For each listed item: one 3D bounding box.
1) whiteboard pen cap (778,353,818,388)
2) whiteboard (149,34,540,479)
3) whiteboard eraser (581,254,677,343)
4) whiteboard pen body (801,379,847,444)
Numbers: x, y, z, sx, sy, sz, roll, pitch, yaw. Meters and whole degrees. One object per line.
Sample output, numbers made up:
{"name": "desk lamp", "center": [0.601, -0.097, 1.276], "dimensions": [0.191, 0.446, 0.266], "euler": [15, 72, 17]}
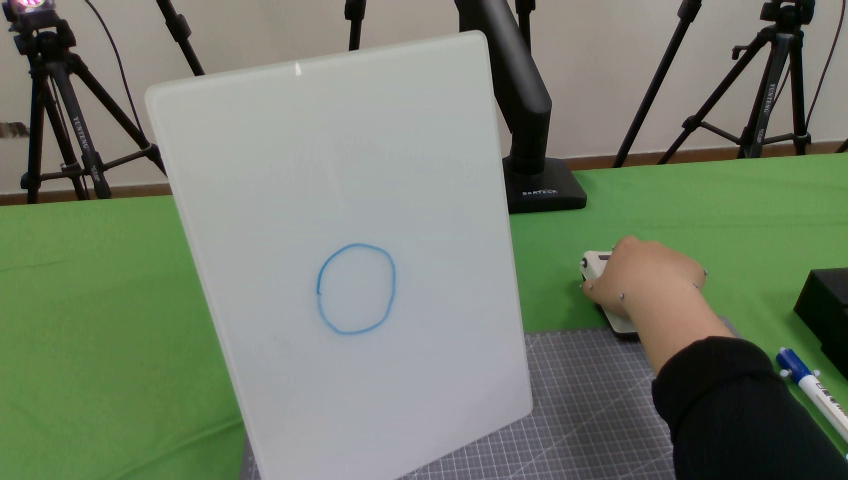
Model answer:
{"name": "whiteboard pen cap", "center": [0.328, 0.115, 0.530], "dimensions": [0.018, 0.018, 0.033], "euler": [-6, 34, -7]}
{"name": "whiteboard", "center": [-0.055, 0.021, 0.466], "dimensions": [0.218, 0.307, 0.142], "euler": [-17, 19, -22]}
{"name": "whiteboard eraser", "center": [0.198, 0.056, 0.595], "dimensions": [0.056, 0.042, 0.111], "euler": [-4, 31, -5]}
{"name": "whiteboard pen body", "center": [0.337, 0.150, 0.483], "dimensions": [0.017, 0.017, 0.139], "euler": [-5, 35, -7]}
